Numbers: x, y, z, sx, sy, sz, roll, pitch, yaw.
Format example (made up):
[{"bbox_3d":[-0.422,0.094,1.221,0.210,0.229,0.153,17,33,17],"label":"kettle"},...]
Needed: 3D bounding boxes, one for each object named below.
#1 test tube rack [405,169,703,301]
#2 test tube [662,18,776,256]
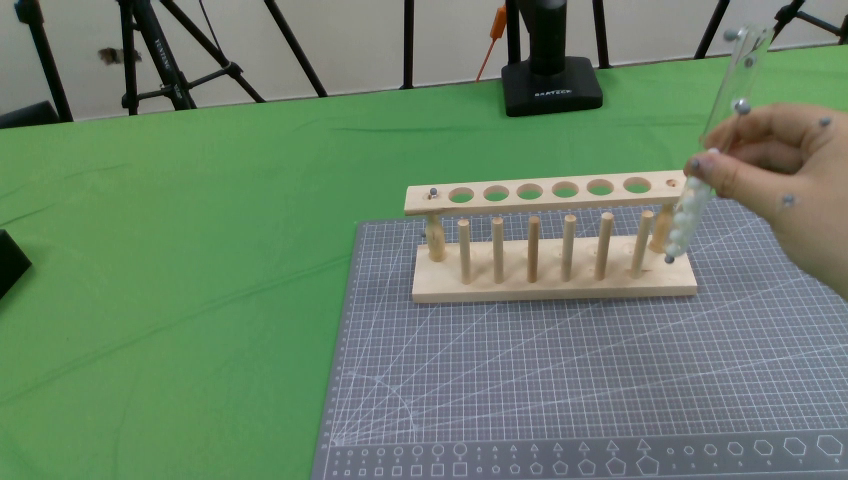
[{"bbox_3d":[0.108,-0.002,0.526,0.242,0.086,0.066,-2,43,8],"label":"test tube rack"},{"bbox_3d":[0.162,-0.049,0.342,0.017,0.151,0.017,1,41,-1],"label":"test tube"}]
